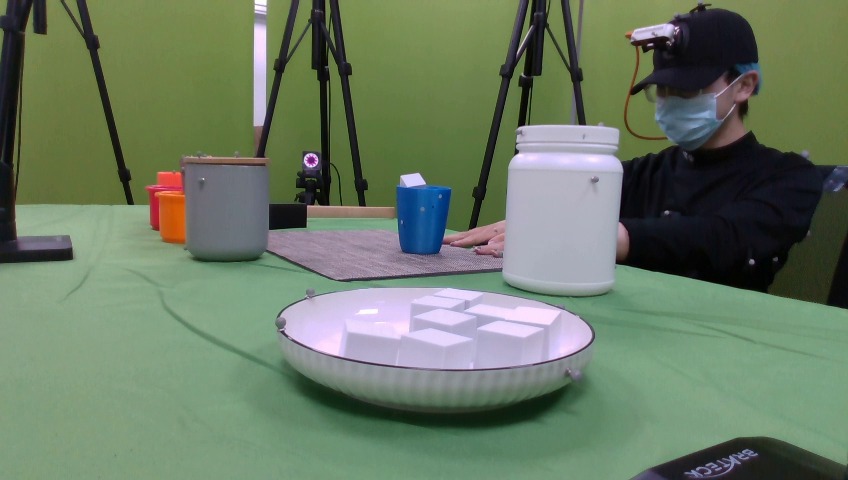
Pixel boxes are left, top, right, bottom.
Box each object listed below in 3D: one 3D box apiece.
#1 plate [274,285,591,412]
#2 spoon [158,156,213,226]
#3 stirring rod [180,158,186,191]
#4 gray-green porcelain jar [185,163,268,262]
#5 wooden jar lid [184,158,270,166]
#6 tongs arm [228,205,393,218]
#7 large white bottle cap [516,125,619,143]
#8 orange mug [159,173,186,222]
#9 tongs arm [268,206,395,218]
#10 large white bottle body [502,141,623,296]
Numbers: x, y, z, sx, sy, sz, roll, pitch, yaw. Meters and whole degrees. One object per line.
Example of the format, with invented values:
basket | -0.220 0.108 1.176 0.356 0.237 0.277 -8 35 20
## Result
plate | 0.005 0.069 0.408 0.208 0.039 0.207 2 7 0
spoon | -0.434 -0.094 1.121 0.041 0.022 0.193 5 51 13
stirring rod | -0.380 -0.071 0.980 0.014 0.006 0.175 -5 53 -25
gray-green porcelain jar | -0.263 -0.038 0.809 0.106 0.126 0.106 3 8 0
wooden jar lid | -0.260 -0.099 0.801 0.108 0.020 0.108 0 9 0
tongs arm | -0.267 -0.069 1.454 0.389 0.027 0.028 0 -2 -18
large white bottle cap | 0.164 -0.120 0.695 0.115 0.018 0.115 2 7 0
orange mug | -0.477 -0.089 1.241 0.127 0.101 0.083 -7 12 -33
tongs arm | -0.230 -0.064 1.380 0.387 0.026 0.050 -1 2 -32
large white bottle body | 0.161 -0.037 0.706 0.131 0.184 0.130 2 7 0
